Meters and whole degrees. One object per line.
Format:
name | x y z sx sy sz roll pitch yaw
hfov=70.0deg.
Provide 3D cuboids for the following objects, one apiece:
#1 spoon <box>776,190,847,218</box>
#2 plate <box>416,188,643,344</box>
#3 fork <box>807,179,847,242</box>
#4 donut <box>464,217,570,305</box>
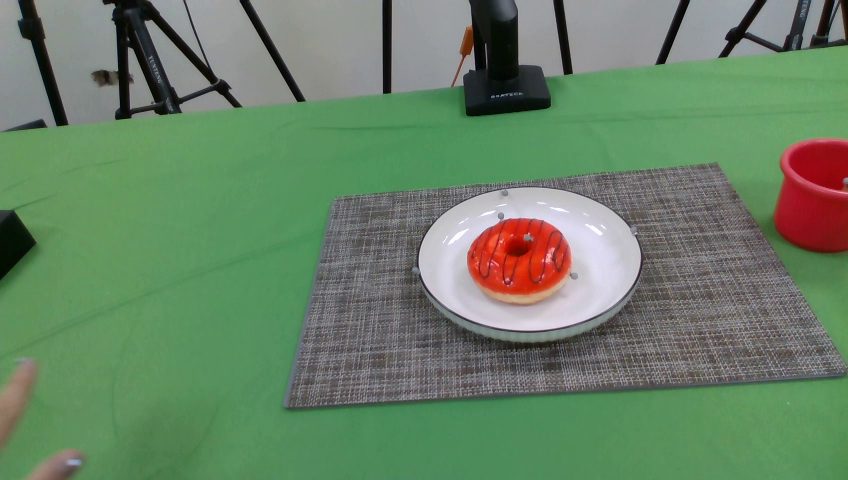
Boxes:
spoon | 0.394 -0.045 0.528 0.041 0.193 0.021 -33 90 -17
plate | 0.098 0.023 0.578 0.209 0.038 0.207 -5 39 4
fork | 0.422 -0.088 0.565 0.019 0.207 0.028 24 7 -16
donut | 0.087 0.019 0.568 0.099 0.049 0.098 -6 42 6
